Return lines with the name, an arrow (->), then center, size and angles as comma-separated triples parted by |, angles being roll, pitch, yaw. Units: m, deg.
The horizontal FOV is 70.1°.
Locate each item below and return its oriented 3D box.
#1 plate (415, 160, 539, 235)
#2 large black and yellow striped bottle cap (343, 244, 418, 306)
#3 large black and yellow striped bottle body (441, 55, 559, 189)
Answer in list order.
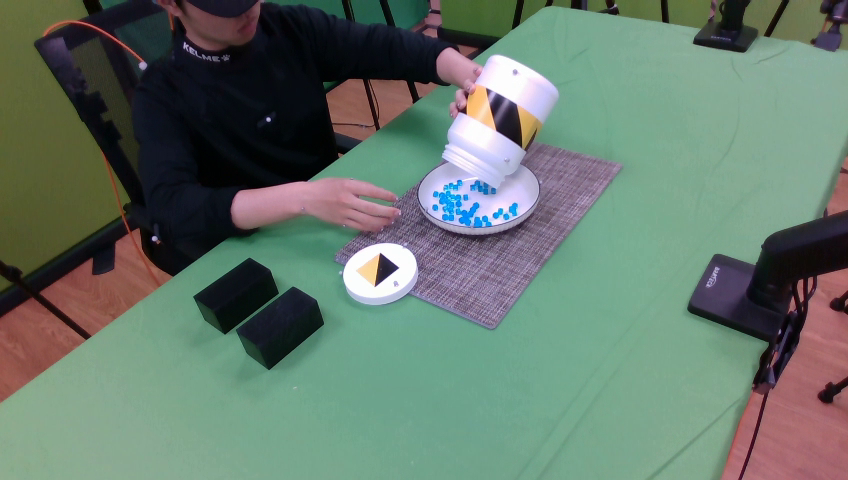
plate -> 0.090, -0.074, 1.025 | 0.207, 0.039, 0.206 | -4, 41, 4
large black and yellow striped bottle cap -> -0.066, 0.051, 0.918 | 0.115, 0.019, 0.114 | -6, 43, 6
large black and yellow striped bottle body -> 0.119, -0.189, 0.986 | 0.129, 0.132, 0.184 | 37, 100, 39
